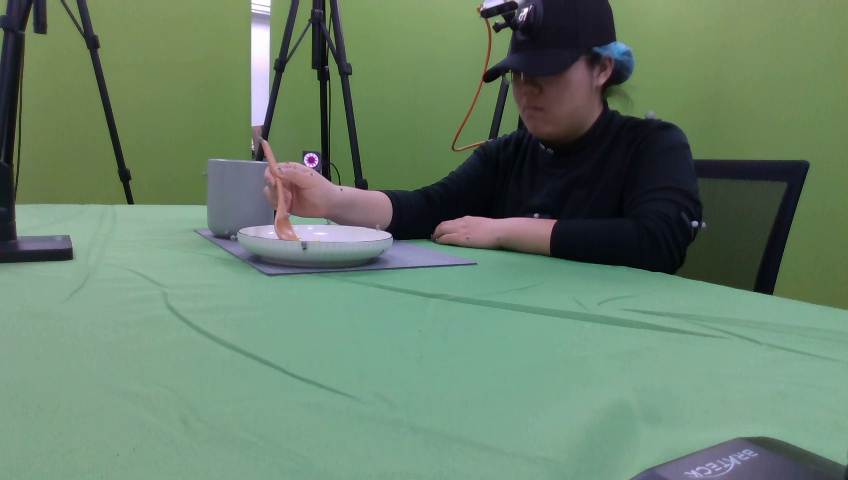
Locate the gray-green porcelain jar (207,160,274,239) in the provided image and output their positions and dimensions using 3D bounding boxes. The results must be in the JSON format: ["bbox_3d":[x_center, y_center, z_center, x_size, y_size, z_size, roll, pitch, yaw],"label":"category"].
[{"bbox_3d":[-0.304,-0.068,1.003,0.106,0.126,0.106,3,7,0],"label":"gray-green porcelain jar"}]

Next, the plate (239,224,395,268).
[{"bbox_3d":[-0.144,0.007,0.823,0.208,0.039,0.207,3,7,0],"label":"plate"}]

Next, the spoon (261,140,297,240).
[{"bbox_3d":[-0.206,-0.067,0.855,0.021,0.193,0.042,-29,-29,23],"label":"spoon"}]
